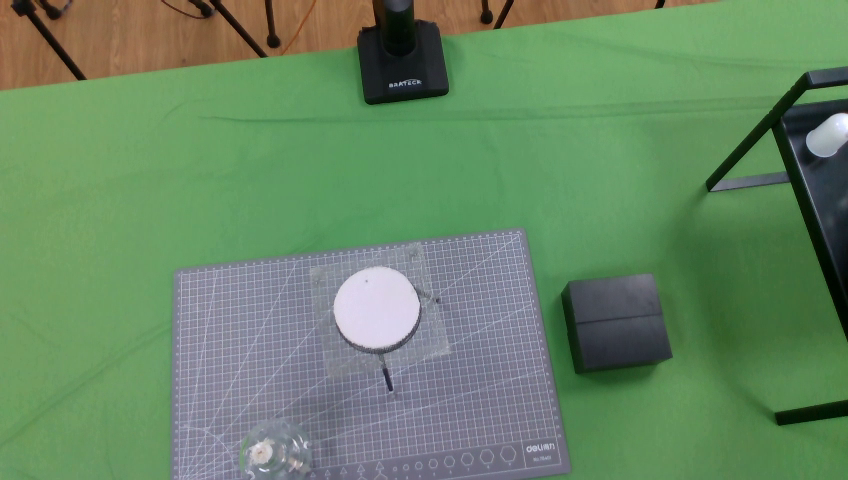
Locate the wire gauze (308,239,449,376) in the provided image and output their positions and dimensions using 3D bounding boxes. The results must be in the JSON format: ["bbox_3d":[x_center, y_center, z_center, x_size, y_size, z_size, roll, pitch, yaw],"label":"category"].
[{"bbox_3d":[-0.048,0.067,0.613,0.125,0.011,0.120,-12,71,-5],"label":"wire gauze"}]

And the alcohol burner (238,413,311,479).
[{"bbox_3d":[-0.162,0.221,0.641,0.078,0.120,0.077,0,69,0],"label":"alcohol burner"}]

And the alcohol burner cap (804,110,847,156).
[{"bbox_3d":[0.406,-0.109,0.600,0.034,0.048,0.033,0,70,0],"label":"alcohol burner cap"}]

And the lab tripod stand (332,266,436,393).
[{"bbox_3d":[-0.045,0.087,0.676,0.148,0.132,0.147,0,69,1],"label":"lab tripod stand"}]
